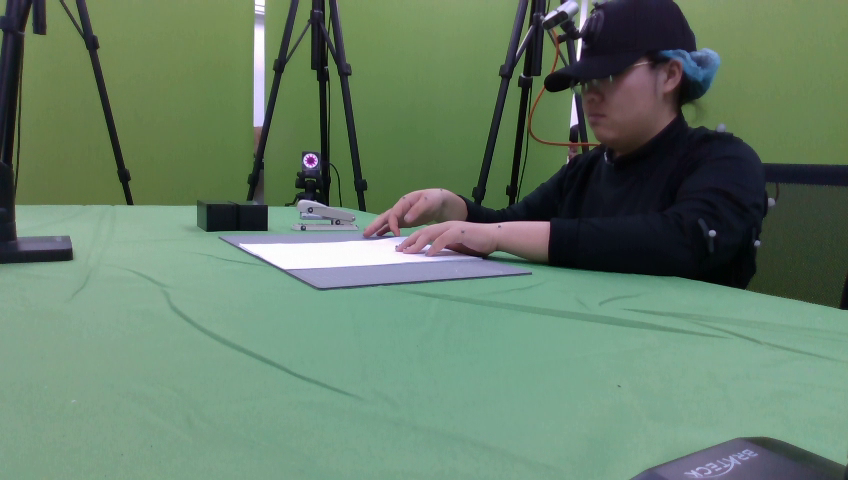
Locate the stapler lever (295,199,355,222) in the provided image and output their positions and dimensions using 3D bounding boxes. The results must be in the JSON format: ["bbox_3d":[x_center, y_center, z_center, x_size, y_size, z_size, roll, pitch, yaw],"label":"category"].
[{"bbox_3d":[-0.196,-0.058,1.199,0.118,0.040,0.026,2,10,-25],"label":"stapler lever"}]

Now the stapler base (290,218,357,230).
[{"bbox_3d":[-0.199,-0.033,1.201,0.131,0.024,0.041,2,10,-25],"label":"stapler base"}]
